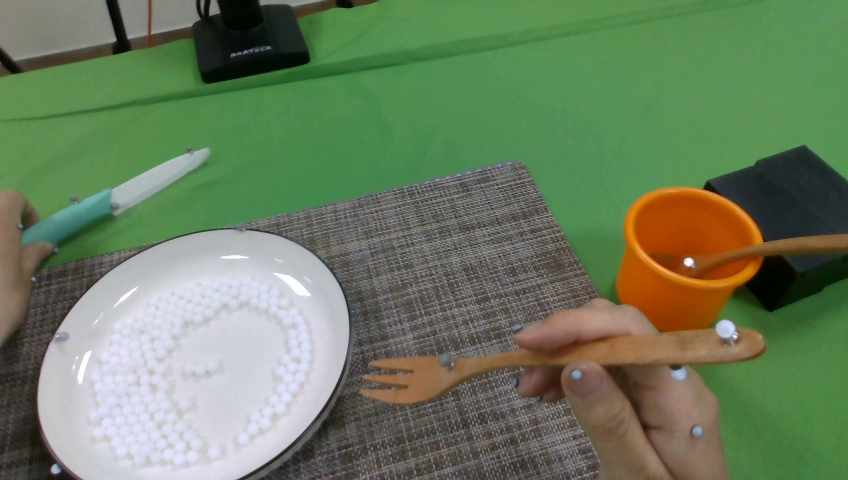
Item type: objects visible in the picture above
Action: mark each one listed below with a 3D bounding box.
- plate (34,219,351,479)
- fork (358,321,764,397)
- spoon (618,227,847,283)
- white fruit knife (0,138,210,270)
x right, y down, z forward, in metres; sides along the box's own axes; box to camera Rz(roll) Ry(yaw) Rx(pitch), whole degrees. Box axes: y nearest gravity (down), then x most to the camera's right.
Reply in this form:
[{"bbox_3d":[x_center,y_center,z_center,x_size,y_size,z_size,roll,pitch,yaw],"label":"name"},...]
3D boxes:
[{"bbox_3d":[-0.153,0.075,0.422,0.209,0.038,0.207,-1,51,2],"label":"plate"},{"bbox_3d":[0.040,0.054,0.273,0.206,0.019,0.028,-18,43,44],"label":"fork"},{"bbox_3d":[0.214,0.007,0.401,0.041,0.193,0.022,-45,106,-32],"label":"spoon"},{"bbox_3d":[-0.279,-0.039,0.531,0.207,0.028,0.016,-37,32,-27],"label":"white fruit knife"}]
